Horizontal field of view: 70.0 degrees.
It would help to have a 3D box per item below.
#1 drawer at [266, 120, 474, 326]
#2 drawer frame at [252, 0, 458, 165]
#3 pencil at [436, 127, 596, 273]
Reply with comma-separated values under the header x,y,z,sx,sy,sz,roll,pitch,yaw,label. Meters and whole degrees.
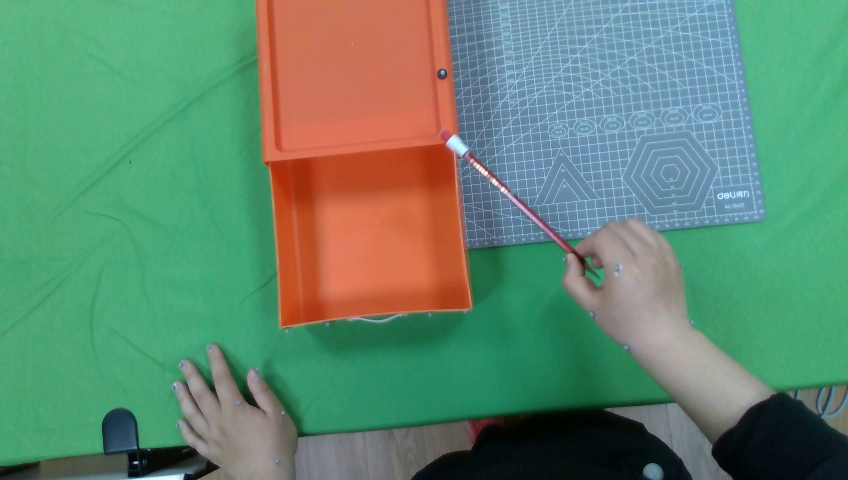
x,y,z,sx,sy,sz,roll,pitch,yaw,label
-0.056,-0.023,0.632,0.194,0.073,0.211,-7,86,6,drawer
-0.073,-0.186,0.644,0.201,0.083,0.213,-6,83,6,drawer frame
0.084,-0.037,0.551,0.193,0.012,0.012,43,90,6,pencil
